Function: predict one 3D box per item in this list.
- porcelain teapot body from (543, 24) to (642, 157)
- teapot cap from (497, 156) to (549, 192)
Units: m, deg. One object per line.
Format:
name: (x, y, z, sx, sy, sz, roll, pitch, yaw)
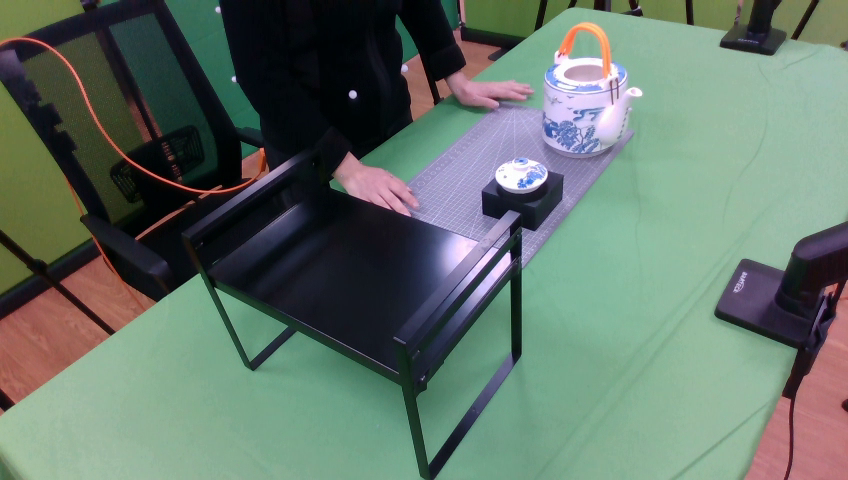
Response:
porcelain teapot body: (0.305, -0.258, 1.070, 0.146, 0.226, 0.203, -26, 44, -20)
teapot cap: (0.161, -0.113, 0.986, 0.085, 0.044, 0.085, -2, 43, 2)
